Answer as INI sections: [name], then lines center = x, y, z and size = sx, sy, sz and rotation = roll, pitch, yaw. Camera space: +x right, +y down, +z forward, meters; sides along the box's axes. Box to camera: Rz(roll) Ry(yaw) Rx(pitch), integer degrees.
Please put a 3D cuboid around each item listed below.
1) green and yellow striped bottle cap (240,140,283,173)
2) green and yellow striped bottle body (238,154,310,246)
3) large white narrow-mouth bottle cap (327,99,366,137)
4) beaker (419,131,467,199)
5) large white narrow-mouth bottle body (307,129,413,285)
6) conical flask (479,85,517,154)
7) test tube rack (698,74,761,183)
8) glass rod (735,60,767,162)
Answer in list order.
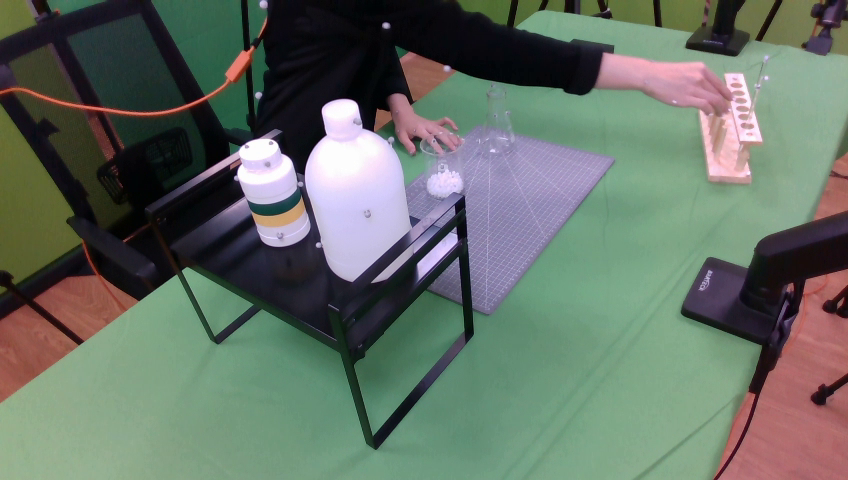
[green and yellow striped bottle cap]
center = -0.183, -0.094, 0.679
size = 0.045, 0.020, 0.045
rotation = -4, 38, 4
[green and yellow striped bottle body]
center = -0.178, -0.056, 0.714
size = 0.063, 0.120, 0.063
rotation = -4, 40, 4
[large white narrow-mouth bottle cap]
center = -0.075, -0.118, 0.582
size = 0.038, 0.024, 0.037
rotation = -3, 40, 3
[beaker]
center = 0.037, -0.130, 1.060
size = 0.084, 0.100, 0.073
rotation = -14, 41, -9
[large white narrow-mouth bottle body]
center = -0.069, -0.051, 0.638
size = 0.102, 0.195, 0.101
rotation = -3, 40, 3
[conical flask]
center = 0.139, -0.231, 1.145
size = 0.075, 0.122, 0.075
rotation = -4, 41, 4
[test tube rack]
center = 0.547, -0.208, 1.095
size = 0.066, 0.085, 0.242
rotation = 5, 42, 15
[glass rod]
center = 0.534, -0.204, 0.989
size = 0.008, 0.201, 0.008
rotation = -6, 46, 6
